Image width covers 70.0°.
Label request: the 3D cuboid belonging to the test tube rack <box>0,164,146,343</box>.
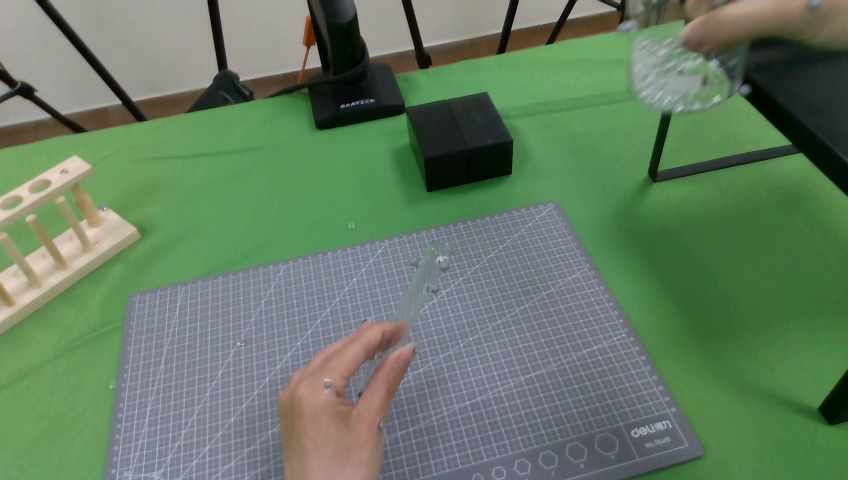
[{"bbox_3d":[-0.409,0.032,0.590,0.066,0.086,0.242,28,54,29],"label":"test tube rack"}]

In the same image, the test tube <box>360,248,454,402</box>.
[{"bbox_3d":[-0.015,0.065,0.423,0.017,0.151,0.017,18,34,-13],"label":"test tube"}]

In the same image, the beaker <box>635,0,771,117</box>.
[{"bbox_3d":[0.163,-0.132,0.362,0.084,0.101,0.073,-3,48,12],"label":"beaker"}]
